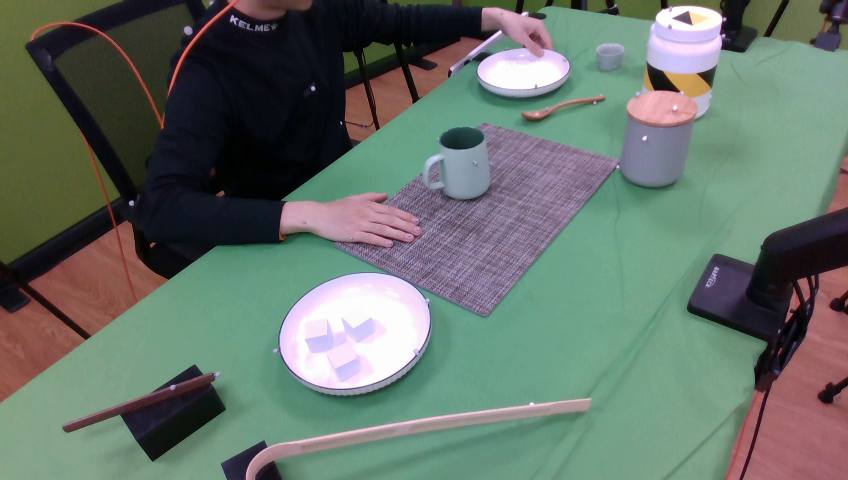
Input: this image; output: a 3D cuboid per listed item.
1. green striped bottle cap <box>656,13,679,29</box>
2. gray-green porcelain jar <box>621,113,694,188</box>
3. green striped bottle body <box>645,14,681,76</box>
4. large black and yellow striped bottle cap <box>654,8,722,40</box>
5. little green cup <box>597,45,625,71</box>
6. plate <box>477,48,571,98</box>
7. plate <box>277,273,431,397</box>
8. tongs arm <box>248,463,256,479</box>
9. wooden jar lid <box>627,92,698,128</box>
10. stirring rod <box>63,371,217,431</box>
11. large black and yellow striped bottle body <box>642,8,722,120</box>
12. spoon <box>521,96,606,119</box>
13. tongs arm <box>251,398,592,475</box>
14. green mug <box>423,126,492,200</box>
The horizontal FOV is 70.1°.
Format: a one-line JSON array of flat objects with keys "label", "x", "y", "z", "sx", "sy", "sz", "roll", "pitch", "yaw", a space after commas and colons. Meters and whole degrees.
[{"label": "green striped bottle cap", "x": 0.515, "y": -0.463, "z": 1.278, "sx": 0.044, "sy": 0.020, "sz": 0.044, "roll": -6, "pitch": 42, "yaw": 6}, {"label": "gray-green porcelain jar", "x": 0.390, "y": -0.161, "z": 1.020, "sx": 0.106, "sy": 0.127, "sz": 0.105, "roll": -4, "pitch": 41, "yaw": 4}, {"label": "green striped bottle body", "x": 0.520, "y": -0.424, "z": 1.312, "sx": 0.063, "sy": 0.120, "sz": 0.063, "roll": -4, "pitch": 41, "yaw": 4}, {"label": "large black and yellow striped bottle cap", "x": 0.483, "y": -0.397, "z": 1.108, "sx": 0.115, "sy": 0.019, "sz": 0.114, "roll": -3, "pitch": 41, "yaw": 3}, {"label": "little green cup", "x": 0.423, "y": -0.413, "z": 1.375, "sx": 0.061, "sy": 0.039, "sz": 0.061, "roll": -3, "pitch": 41, "yaw": 3}, {"label": "plate", "x": 0.223, "y": -0.371, "z": 1.356, "sx": 0.209, "sy": 0.038, "sz": 0.208, "roll": -4, "pitch": 41, "yaw": 4}, {"label": "plate", "x": -0.091, "y": 0.129, "z": 0.821, "sx": 0.207, "sy": 0.039, "sz": 0.206, "roll": -4, "pitch": 40, "yaw": 4}, {"label": "tongs arm", "x": 0.012, "y": 0.263, "z": 0.615, "sx": 0.385, "sy": 0.026, "sz": 0.050, "roll": 2, "pitch": 41, "yaw": -2}, {"label": "wooden jar lid", "x": 0.384, "y": -0.207, "z": 0.980, "sx": 0.108, "sy": 0.021, "sz": 0.108, "roll": -6, "pitch": 39, "yaw": 5}, {"label": "stirring rod", "x": -0.337, "y": 0.192, "z": 0.723, "sx": 0.177, "sy": 0.014, "sz": 0.005, "roll": -18, "pitch": 43, "yaw": -12}, {"label": "large black and yellow striped bottle body", "x": 0.493, "y": -0.334, "z": 1.161, "sx": 0.131, "sy": 0.185, "sz": 0.130, "roll": -4, "pitch": 41, "yaw": 4}, {"label": "spoon", "x": 0.291, "y": -0.277, "z": 1.249, "sx": 0.194, "sy": 0.022, "sz": 0.041, "roll": -18, "pitch": 25, "yaw": -11}, {"label": "tongs arm", "x": 0.008, "y": 0.213, "z": 0.675, "sx": 0.389, "sy": 0.028, "sz": 0.028, "roll": -5, "pitch": 46, "yaw": -11}, {"label": "green mug", "x": 0.055, "y": -0.126, "z": 1.039, "sx": 0.126, "sy": 0.105, "sz": 0.091, "roll": -25, "pitch": 44, "yaw": -18}]
